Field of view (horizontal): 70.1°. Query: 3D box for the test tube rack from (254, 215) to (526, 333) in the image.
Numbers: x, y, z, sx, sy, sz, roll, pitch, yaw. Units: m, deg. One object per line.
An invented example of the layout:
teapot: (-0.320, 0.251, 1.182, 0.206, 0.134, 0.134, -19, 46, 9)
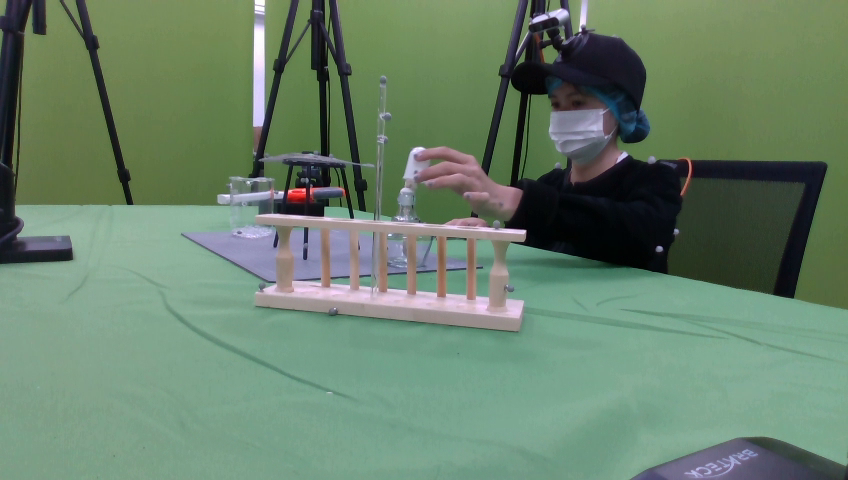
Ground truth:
test tube rack: (-0.030, 0.025, 0.558, 0.242, 0.085, 0.067, 4, 7, 12)

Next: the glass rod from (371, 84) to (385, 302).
glass rod: (-0.041, -0.041, 0.548, 0.008, 0.199, 0.008, 2, 2, 0)

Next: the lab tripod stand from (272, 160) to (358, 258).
lab tripod stand: (-0.159, -0.048, 0.876, 0.148, 0.131, 0.148, 3, 5, 0)

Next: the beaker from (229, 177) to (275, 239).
beaker: (-0.292, -0.056, 1.023, 0.074, 0.100, 0.083, -1, 8, -26)

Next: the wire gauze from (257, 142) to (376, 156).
wire gauze: (-0.155, -0.130, 0.871, 0.124, 0.011, 0.122, -1, 7, 36)

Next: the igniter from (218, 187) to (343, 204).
igniter: (-0.287, -0.093, 1.257, 0.278, 0.025, 0.057, -8, 12, -41)

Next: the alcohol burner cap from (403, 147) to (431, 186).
alcohol burner cap: (-0.007, -0.097, 0.787, 0.034, 0.048, 0.034, 12, 0, 0)

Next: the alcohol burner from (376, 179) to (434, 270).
alcohol burner: (-0.025, -0.022, 0.800, 0.078, 0.119, 0.078, 1, 6, 0)
